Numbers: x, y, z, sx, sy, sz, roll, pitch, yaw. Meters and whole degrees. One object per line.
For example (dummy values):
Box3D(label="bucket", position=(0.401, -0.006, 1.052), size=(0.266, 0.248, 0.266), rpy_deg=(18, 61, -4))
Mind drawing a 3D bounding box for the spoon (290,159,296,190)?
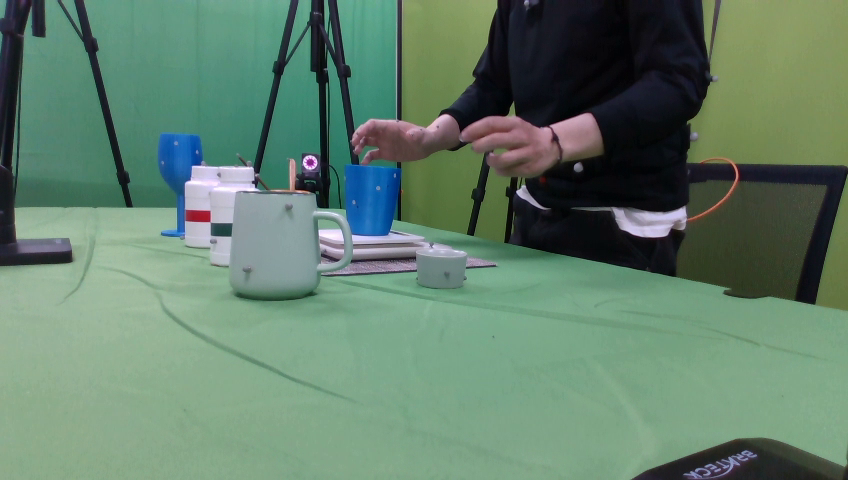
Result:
Box3D(label="spoon", position=(-0.273, -0.102, 1.252), size=(0.042, 0.193, 0.021), rpy_deg=(7, -38, -17))

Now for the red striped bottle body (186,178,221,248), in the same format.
Box3D(label="red striped bottle body", position=(-0.331, -0.050, 0.927), size=(0.063, 0.119, 0.063), rpy_deg=(2, 6, 0))

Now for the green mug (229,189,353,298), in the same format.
Box3D(label="green mug", position=(-0.135, 0.002, 0.618), size=(0.125, 0.105, 0.092), rpy_deg=(2, 7, 4))

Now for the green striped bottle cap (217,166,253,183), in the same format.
Box3D(label="green striped bottle cap", position=(-0.242, -0.085, 0.777), size=(0.044, 0.020, 0.044), rpy_deg=(2, 8, 0))

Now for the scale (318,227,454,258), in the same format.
Box3D(label="scale", position=(-0.067, 0.001, 0.906), size=(0.202, 0.031, 0.148), rpy_deg=(-2, 8, -31))

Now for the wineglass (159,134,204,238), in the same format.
Box3D(label="wineglass", position=(-0.415, -0.093, 1.040), size=(0.074, 0.172, 0.073), rpy_deg=(2, 7, 0))

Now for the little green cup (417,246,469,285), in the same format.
Box3D(label="little green cup", position=(0.021, 0.029, 0.701), size=(0.061, 0.038, 0.061), rpy_deg=(1, 6, 0))

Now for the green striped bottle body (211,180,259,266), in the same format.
Box3D(label="green striped bottle body", position=(-0.243, -0.029, 0.784), size=(0.063, 0.119, 0.063), rpy_deg=(2, 7, 0))

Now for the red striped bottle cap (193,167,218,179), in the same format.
Box3D(label="red striped bottle cap", position=(-0.329, -0.103, 0.921), size=(0.044, 0.017, 0.044), rpy_deg=(-1, 9, 0))

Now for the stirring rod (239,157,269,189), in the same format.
Box3D(label="stirring rod", position=(-0.309, -0.098, 1.209), size=(0.006, 0.177, 0.014), rpy_deg=(-39, 29, -4))

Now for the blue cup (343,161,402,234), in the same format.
Box3D(label="blue cup", position=(-0.078, -0.062, 0.883), size=(0.093, 0.100, 0.092), rpy_deg=(4, 6, 0))
